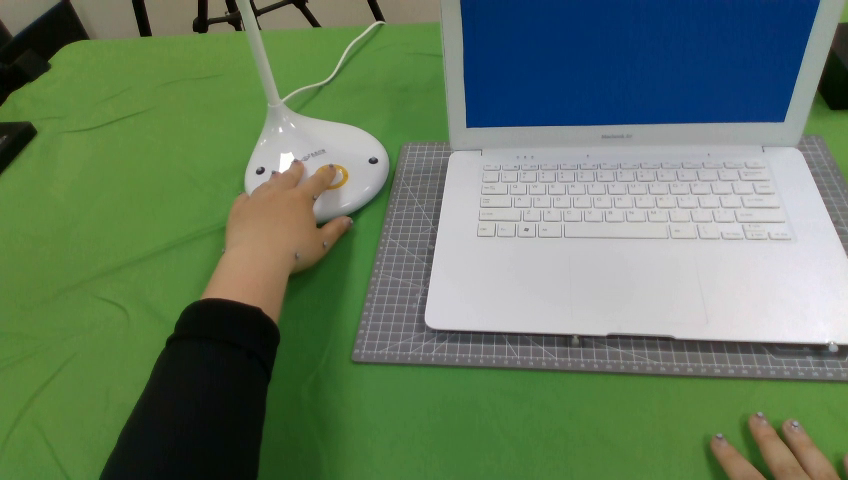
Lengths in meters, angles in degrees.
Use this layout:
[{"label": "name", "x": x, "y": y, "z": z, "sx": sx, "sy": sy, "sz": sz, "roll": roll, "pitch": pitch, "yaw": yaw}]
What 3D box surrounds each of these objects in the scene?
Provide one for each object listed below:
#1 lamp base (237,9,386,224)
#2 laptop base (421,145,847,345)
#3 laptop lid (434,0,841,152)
[{"label": "lamp base", "x": -0.139, "y": -0.134, "z": 0.622, "sx": 0.160, "sy": 0.182, "sz": 0.177, "roll": -37, "pitch": 50, "yaw": -25}, {"label": "laptop base", "x": 0.184, "y": -0.004, "z": 0.562, "sx": 0.354, "sy": 0.023, "sz": 0.233, "roll": 1, "pitch": 50, "yaw": 9}, {"label": "laptop lid", "x": 0.187, "y": -0.183, "z": 0.567, "sx": 0.356, "sy": 0.244, "sz": 0.013, "roll": -1, "pitch": 39, "yaw": 10}]
